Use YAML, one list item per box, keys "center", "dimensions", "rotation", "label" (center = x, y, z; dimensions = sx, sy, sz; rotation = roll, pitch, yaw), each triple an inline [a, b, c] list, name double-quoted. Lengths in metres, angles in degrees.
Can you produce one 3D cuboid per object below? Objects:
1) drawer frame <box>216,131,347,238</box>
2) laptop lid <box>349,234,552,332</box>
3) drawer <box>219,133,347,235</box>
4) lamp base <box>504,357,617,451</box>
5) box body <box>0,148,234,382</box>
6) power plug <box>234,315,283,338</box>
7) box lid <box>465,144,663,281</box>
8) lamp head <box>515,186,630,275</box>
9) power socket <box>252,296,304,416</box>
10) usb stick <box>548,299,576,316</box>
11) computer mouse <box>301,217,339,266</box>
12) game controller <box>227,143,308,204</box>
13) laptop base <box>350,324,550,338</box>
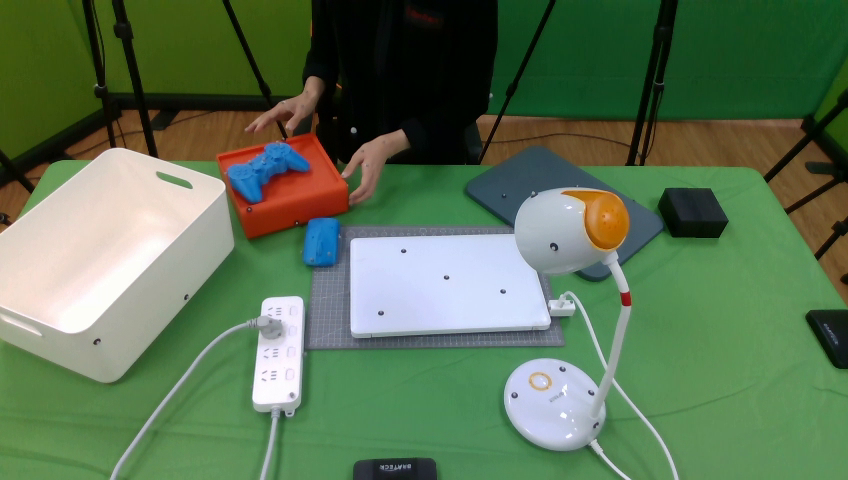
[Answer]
- center: [-0.291, -0.118, 1.247]
  dimensions: [0.214, 0.083, 0.200]
  rotation: [-18, 51, -20]
  label: "drawer frame"
- center: [0.040, 0.071, 1.117]
  dimensions: [0.357, 0.013, 0.240]
  rotation: [0, 44, -5]
  label: "laptop lid"
- center: [-0.290, -0.119, 1.250]
  dimensions: [0.212, 0.073, 0.193]
  rotation: [-19, 51, -20]
  label: "drawer"
- center: [0.220, 0.211, 0.903]
  dimensions: [0.160, 0.181, 0.178]
  rotation: [-32, 59, -30]
  label: "lamp base"
- center: [-0.525, 0.033, 1.027]
  dimensions: [0.254, 0.161, 0.362]
  rotation: [18, 47, 13]
  label: "box body"
- center: [-0.270, 0.143, 1.000]
  dimensions: [0.072, 0.053, 0.035]
  rotation: [4, 47, 2]
  label: "power plug"
- center: [0.297, -0.072, 1.298]
  dimensions: [0.263, 0.015, 0.369]
  rotation: [-33, 56, -31]
  label: "box lid"
- center: [0.188, -0.013, 0.728]
  dimensions: [0.112, 0.112, 0.122]
  rotation: [-25, 9, -25]
  label: "lamp head"
- center: [-0.238, 0.182, 0.997]
  dimensions: [0.072, 0.033, 0.225]
  rotation: [-3, 47, -5]
  label: "power socket"
- center: [0.239, 0.121, 1.083]
  dimensions: [0.059, 0.027, 0.021]
  rotation: [-1, 50, -2]
  label: "usb stick"
- center: [-0.199, -0.001, 1.169]
  dimensions: [0.063, 0.041, 0.116]
  rotation: [4, 50, -3]
  label: "computer mouse"
- center: [-0.313, -0.141, 1.197]
  dimensions: [0.096, 0.052, 0.155]
  rotation: [29, 50, 26]
  label: "game controller"
- center: [0.039, 0.081, 1.124]
  dimensions: [0.355, 0.023, 0.234]
  rotation: [-2, 43, -6]
  label: "laptop base"
